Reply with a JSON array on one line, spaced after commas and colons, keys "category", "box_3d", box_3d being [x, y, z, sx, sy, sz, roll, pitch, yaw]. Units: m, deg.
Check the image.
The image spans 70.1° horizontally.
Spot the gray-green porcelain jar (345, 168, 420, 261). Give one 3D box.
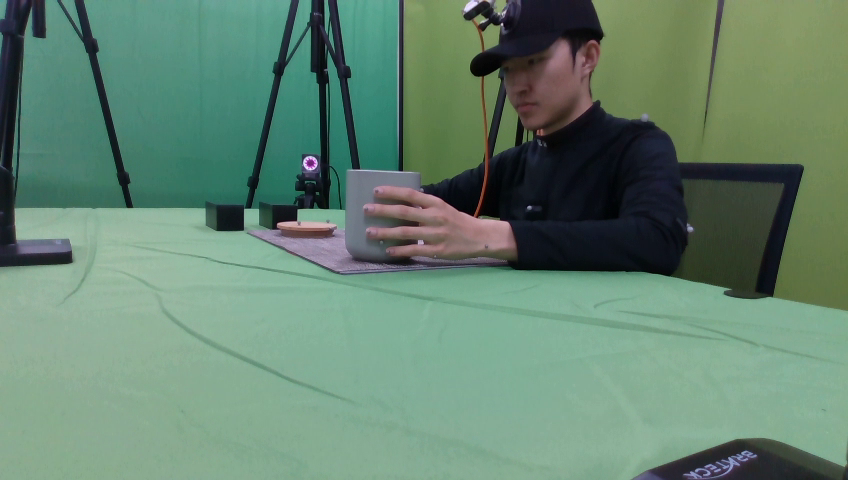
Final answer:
[{"category": "gray-green porcelain jar", "box_3d": [-0.059, -0.037, 0.858, 0.106, 0.126, 0.106, 2, 7, 0]}]

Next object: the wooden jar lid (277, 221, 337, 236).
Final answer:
[{"category": "wooden jar lid", "box_3d": [-0.215, -0.021, 1.111, 0.108, 0.020, 0.108, 3, 7, 0]}]
